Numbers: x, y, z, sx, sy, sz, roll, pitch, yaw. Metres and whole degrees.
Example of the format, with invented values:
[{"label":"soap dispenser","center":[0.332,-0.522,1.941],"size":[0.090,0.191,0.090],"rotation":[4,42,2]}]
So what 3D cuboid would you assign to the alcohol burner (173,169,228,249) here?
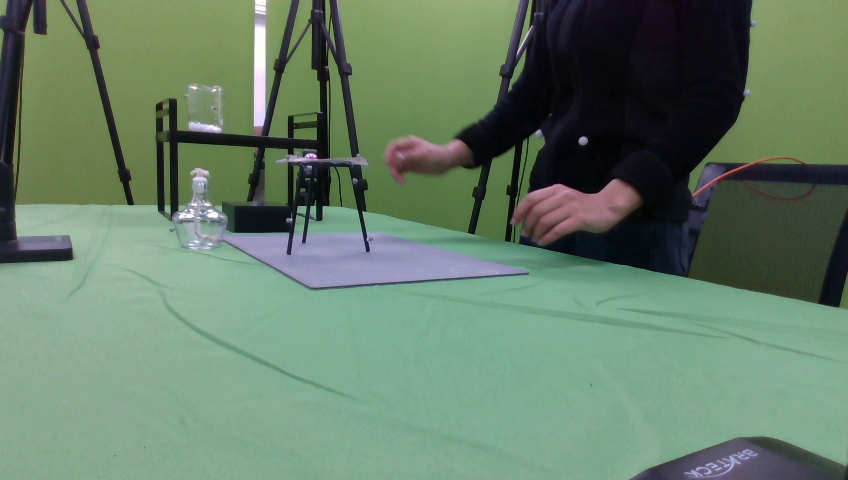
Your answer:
[{"label":"alcohol burner","center":[-0.333,-0.047,0.903],"size":[0.078,0.119,0.078],"rotation":[2,6,0]}]

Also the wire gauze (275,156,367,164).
[{"label":"wire gauze","center":[-0.148,-0.119,0.895],"size":[0.121,0.011,0.125],"rotation":[1,7,-3]}]

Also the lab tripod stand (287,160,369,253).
[{"label":"lab tripod stand","center":[-0.157,-0.053,0.902],"size":[0.148,0.131,0.148],"rotation":[0,7,0]}]

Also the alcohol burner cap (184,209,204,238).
[{"label":"alcohol burner cap","center":[-0.389,-0.029,1.025],"size":[0.034,0.048,0.034],"rotation":[2,8,0]}]

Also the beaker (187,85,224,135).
[{"label":"beaker","center":[-0.466,-0.276,1.296],"size":[0.074,0.100,0.083],"rotation":[-3,10,-35]}]
